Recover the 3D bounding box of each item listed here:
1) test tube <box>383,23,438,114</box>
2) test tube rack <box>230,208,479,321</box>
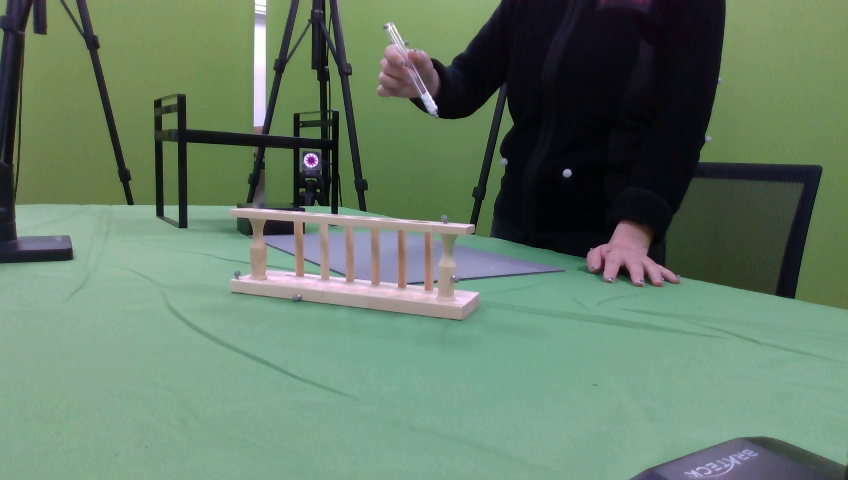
[{"bbox_3d":[-0.019,-0.247,0.875,0.017,0.150,0.017,-27,-7,-3],"label":"test tube"},{"bbox_3d":[-0.069,0.018,0.598,0.242,0.085,0.067,5,8,18],"label":"test tube rack"}]
